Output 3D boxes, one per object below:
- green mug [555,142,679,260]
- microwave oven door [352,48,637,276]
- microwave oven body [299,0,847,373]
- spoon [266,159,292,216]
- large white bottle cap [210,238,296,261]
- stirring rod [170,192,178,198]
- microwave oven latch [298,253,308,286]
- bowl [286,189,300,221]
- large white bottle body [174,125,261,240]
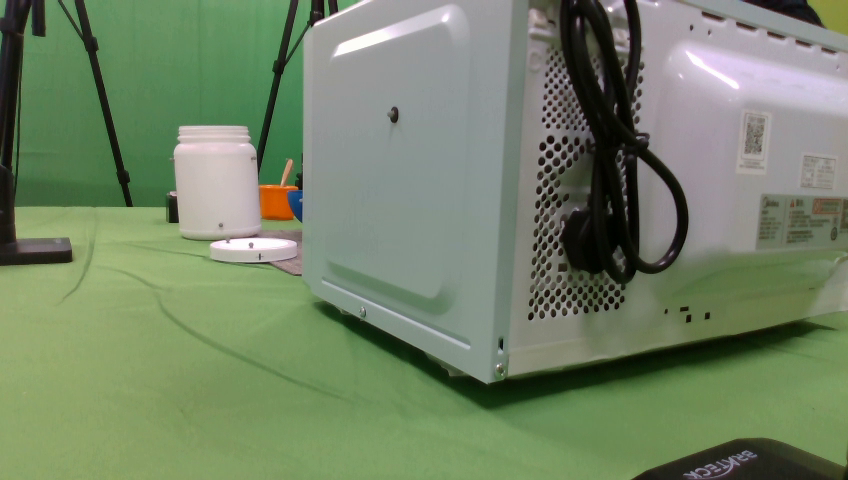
[{"bbox_3d":[0.181,-0.037,0.584,0.124,0.105,0.093,4,5,45],"label":"green mug"},{"bbox_3d":[0.095,-0.084,0.716,0.357,0.243,0.039,-1,8,-22],"label":"microwave oven door"},{"bbox_3d":[0.152,-0.055,0.542,0.444,0.260,0.324,-2,7,-33],"label":"microwave oven body"},{"bbox_3d":[-0.334,-0.127,1.423,0.041,0.193,0.022,0,-37,7],"label":"spoon"},{"bbox_3d":[-0.236,0.013,0.839,0.115,0.018,0.115,2,7,0],"label":"large white bottle cap"},{"bbox_3d":[-0.465,-0.098,1.283,0.014,0.006,0.177,42,21,17],"label":"stirring rod"},{"bbox_3d":[-0.081,0.027,0.582,0.079,0.029,0.030,-1,7,-32],"label":"microwave oven latch"},{"bbox_3d":[-0.179,-0.051,1.115,0.151,0.077,0.151,3,8,0],"label":"bowl"},{"bbox_3d":[-0.349,-0.100,1.025,0.131,0.184,0.130,-1,9,0],"label":"large white bottle body"}]
